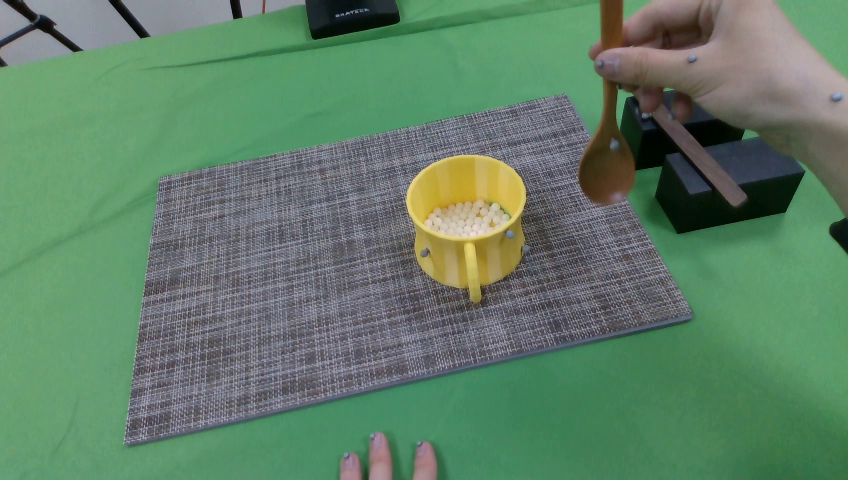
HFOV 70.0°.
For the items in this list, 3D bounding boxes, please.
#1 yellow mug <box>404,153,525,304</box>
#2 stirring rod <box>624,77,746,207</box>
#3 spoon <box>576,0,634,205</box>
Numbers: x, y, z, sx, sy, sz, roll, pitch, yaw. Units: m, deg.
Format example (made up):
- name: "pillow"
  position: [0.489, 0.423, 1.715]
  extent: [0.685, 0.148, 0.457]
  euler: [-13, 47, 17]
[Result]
- name: "yellow mug"
  position: [0.037, -0.006, 0.511]
  extent: [0.100, 0.064, 0.129]
  euler: [-6, 51, 3]
- name: "stirring rod"
  position: [0.224, -0.092, 0.532]
  extent: [0.014, 0.006, 0.174]
  euler: [-40, 48, 21]
- name: "spoon"
  position: [0.119, -0.095, 0.392]
  extent: [0.041, 0.196, 0.021]
  euler: [-5, 51, 12]
